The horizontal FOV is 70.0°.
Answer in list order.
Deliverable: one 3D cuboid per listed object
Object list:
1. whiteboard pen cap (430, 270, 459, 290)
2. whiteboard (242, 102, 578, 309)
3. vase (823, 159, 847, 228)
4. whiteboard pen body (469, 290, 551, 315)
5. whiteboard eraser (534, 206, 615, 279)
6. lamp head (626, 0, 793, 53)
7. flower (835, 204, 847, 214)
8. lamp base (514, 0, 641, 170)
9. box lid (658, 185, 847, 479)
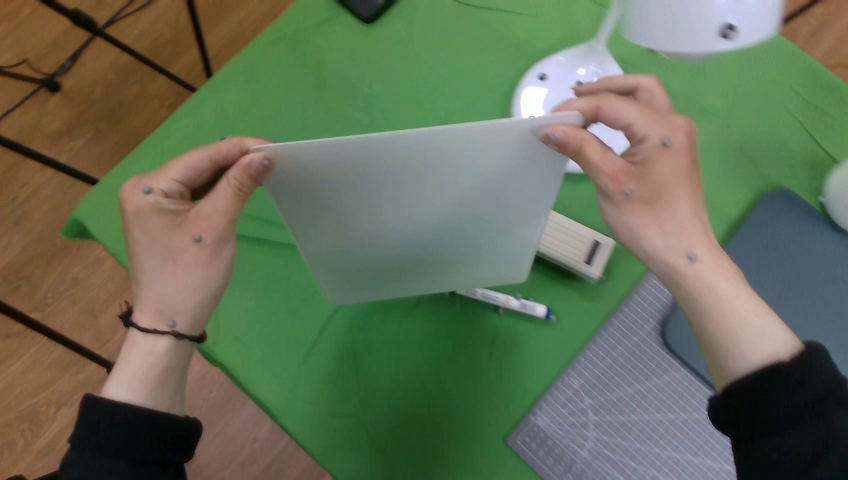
[{"bbox_3d":[0.024,0.047,0.718,0.033,0.018,0.018,16,76,5],"label":"whiteboard pen cap"},{"bbox_3d":[-0.009,-0.066,0.545,0.217,0.308,0.142,-6,65,-1],"label":"whiteboard"},{"bbox_3d":[0.538,-0.074,0.659,0.098,0.201,0.097,0,76,-1],"label":"vase"},{"bbox_3d":[0.080,0.064,0.714,0.140,0.017,0.017,15,76,5],"label":"whiteboard pen body"},{"bbox_3d":[0.164,-0.002,0.719,0.112,0.042,0.055,26,80,5],"label":"whiteboard eraser"},{"bbox_3d":[0.197,-0.206,0.415,0.112,0.124,0.111,-7,33,5],"label":"lamp head"},{"bbox_3d":[0.552,-0.102,0.582,0.038,0.363,0.043,-2,69,-17],"label":"flower"},{"bbox_3d":[0.196,-0.195,0.695,0.160,0.181,0.178,11,74,3],"label":"lamp base"},{"bbox_3d":[0.488,0.133,0.705,0.370,0.015,0.263,41,79,9],"label":"box lid"}]
